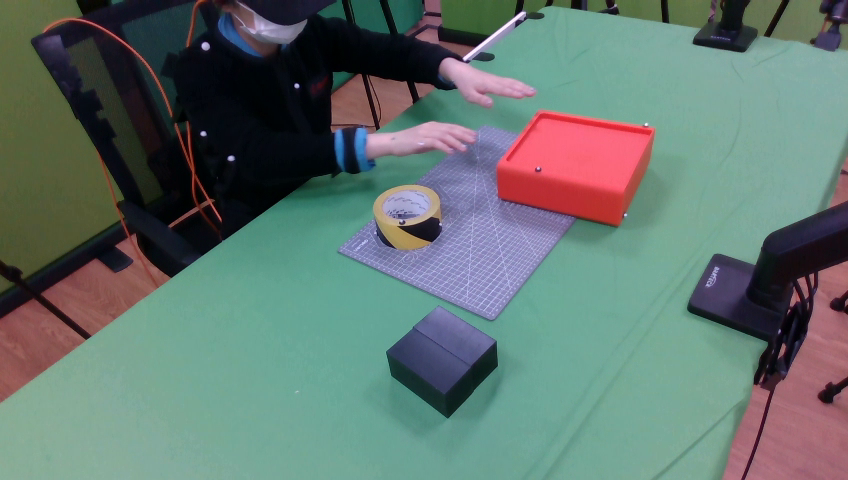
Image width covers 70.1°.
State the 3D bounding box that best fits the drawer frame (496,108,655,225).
[{"bbox_3d":[0.259,-0.132,1.034,0.212,0.083,0.202,16,45,24],"label":"drawer frame"}]

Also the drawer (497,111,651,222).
[{"bbox_3d":[0.257,-0.131,1.034,0.210,0.073,0.195,16,45,24],"label":"drawer"}]

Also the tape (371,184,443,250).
[{"bbox_3d":[-0.028,-0.039,0.990,0.117,0.053,0.116,-4,40,4],"label":"tape"}]
